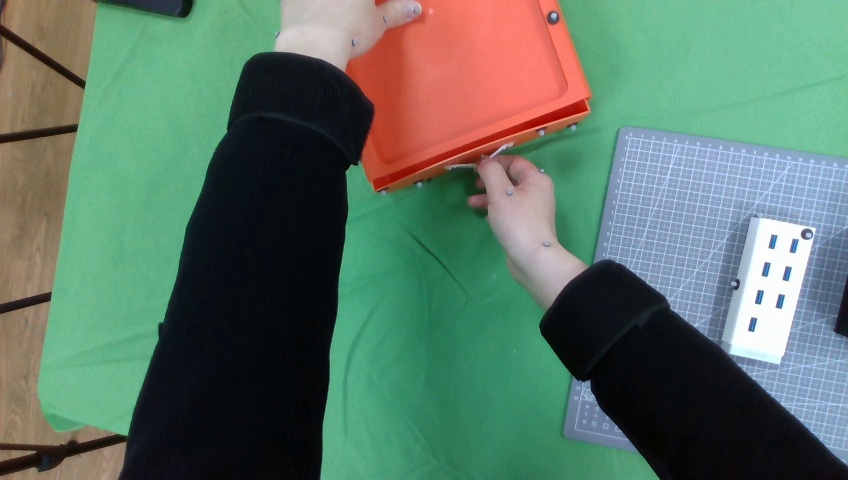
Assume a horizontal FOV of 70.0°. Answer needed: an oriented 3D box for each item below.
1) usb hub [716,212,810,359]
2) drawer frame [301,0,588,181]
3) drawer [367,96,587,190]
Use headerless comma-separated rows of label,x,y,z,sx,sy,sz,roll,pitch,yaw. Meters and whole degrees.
usb hub,0.303,0.040,0.544,0.049,0.025,0.125,11,96,5
drawer frame,0.010,-0.183,0.532,0.201,0.083,0.213,-21,91,8
drawer,0.014,-0.172,0.536,0.194,0.073,0.211,-19,91,8
